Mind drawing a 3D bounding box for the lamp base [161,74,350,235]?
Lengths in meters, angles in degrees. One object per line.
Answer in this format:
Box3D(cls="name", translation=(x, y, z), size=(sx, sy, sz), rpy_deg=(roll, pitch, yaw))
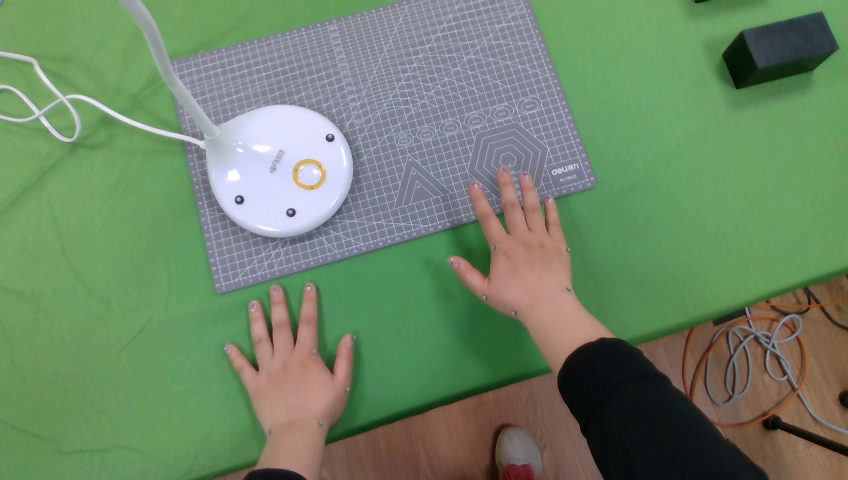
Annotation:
Box3D(cls="lamp base", translation=(-0.179, -0.104, 0.620), size=(0.179, 0.181, 0.160), rpy_deg=(10, 76, 6))
